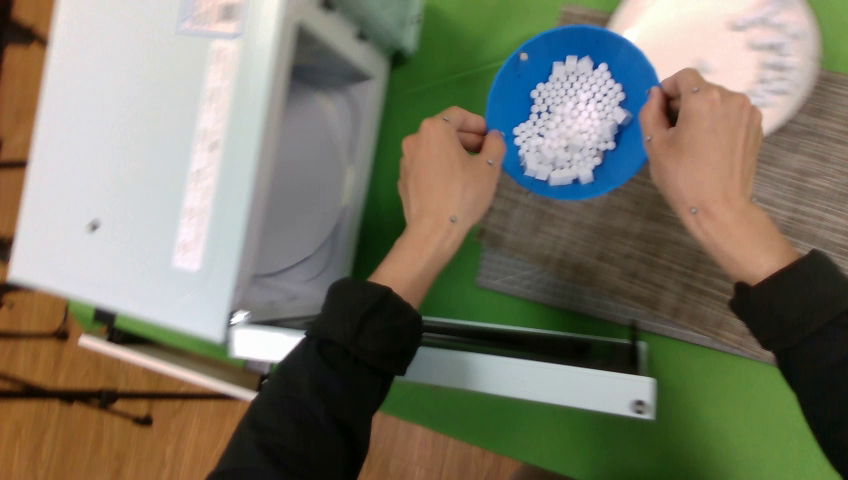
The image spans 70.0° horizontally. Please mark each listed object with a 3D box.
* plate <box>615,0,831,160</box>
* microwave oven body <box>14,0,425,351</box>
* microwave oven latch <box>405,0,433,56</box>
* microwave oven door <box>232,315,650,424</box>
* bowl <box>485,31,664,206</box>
[{"bbox_3d":[0.305,-0.184,0.640,0.208,0.038,0.208,-2,85,18],"label":"plate"},{"bbox_3d":[-0.215,-0.131,0.694,0.324,0.261,0.441,12,91,18],"label":"microwave oven body"},{"bbox_3d":[-0.010,-0.268,0.736,0.030,0.029,0.079,12,91,18],"label":"microwave oven latch"},{"bbox_3d":[0.033,0.113,0.591,0.354,0.245,0.039,3,87,19],"label":"microwave oven door"},{"bbox_3d":[0.136,-0.105,0.557,0.151,0.077,0.151,1,93,14],"label":"bowl"}]
